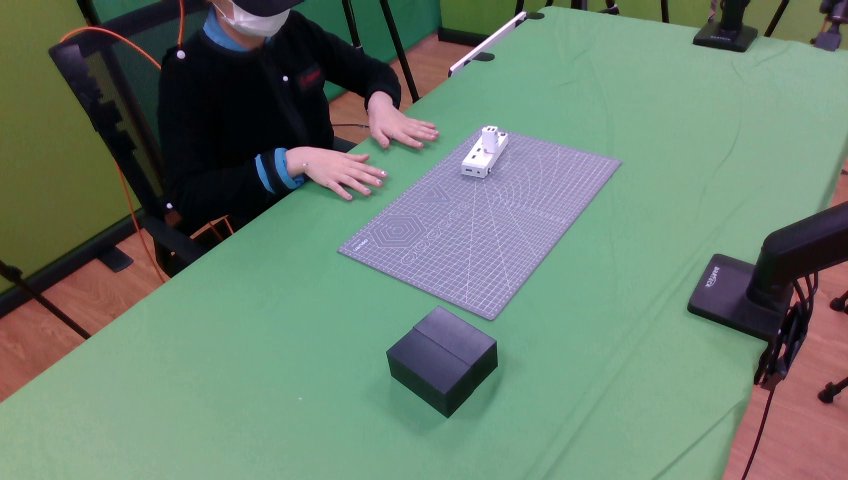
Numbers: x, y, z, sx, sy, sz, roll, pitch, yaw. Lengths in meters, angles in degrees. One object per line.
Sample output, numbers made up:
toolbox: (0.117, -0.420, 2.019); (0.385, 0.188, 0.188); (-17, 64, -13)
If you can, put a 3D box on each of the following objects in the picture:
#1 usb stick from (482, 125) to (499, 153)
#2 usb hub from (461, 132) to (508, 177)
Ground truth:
usb stick: (0.123, -0.179, 1.107); (0.027, 0.059, 0.021); (13, 43, 21)
usb hub: (0.116, -0.163, 1.135); (0.049, 0.025, 0.125); (14, 45, 22)
